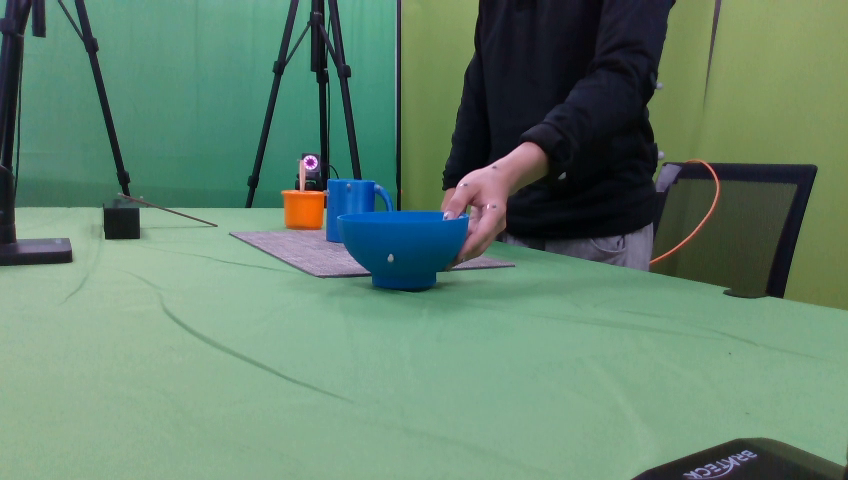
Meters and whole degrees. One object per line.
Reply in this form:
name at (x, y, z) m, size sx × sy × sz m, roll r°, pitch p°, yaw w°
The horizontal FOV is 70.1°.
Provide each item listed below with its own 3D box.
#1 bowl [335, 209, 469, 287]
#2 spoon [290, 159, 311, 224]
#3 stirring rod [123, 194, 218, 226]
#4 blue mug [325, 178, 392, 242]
bowl at (-0.024, 0.008, 0.684) m, size 0.151 × 0.077 × 0.151 m, roll -1°, pitch 7°, yaw 0°
spoon at (-0.256, -0.104, 1.265) m, size 0.042 × 0.193 × 0.021 m, roll 0°, pitch -37°, yaw -9°
stirring rod at (-0.480, -0.056, 1.153) m, size 0.177 × 0.006 × 0.014 m, roll 20°, pitch -5°, yaw -29°
blue mug at (-0.111, -0.052, 1.034) m, size 0.116 × 0.106 × 0.082 m, roll 3°, pitch 7°, yaw 7°
